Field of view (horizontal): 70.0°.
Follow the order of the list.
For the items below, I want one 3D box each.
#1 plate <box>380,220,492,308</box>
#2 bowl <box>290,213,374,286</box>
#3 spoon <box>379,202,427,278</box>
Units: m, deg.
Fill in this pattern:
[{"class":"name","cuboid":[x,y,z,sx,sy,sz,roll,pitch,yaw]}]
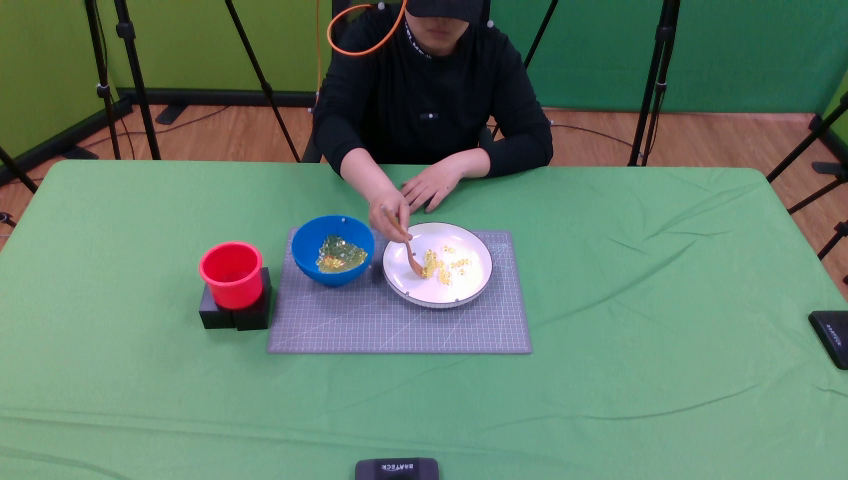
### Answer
[{"class":"plate","cuboid":[0.022,0.048,1.137,0.208,0.039,0.206,2,46,-2]},{"class":"bowl","cuboid":[-0.166,0.031,1.113,0.151,0.077,0.150,2,46,-2]},{"class":"spoon","cuboid":[-0.035,0.001,1.070,0.021,0.195,0.041,-22,41,4]}]
